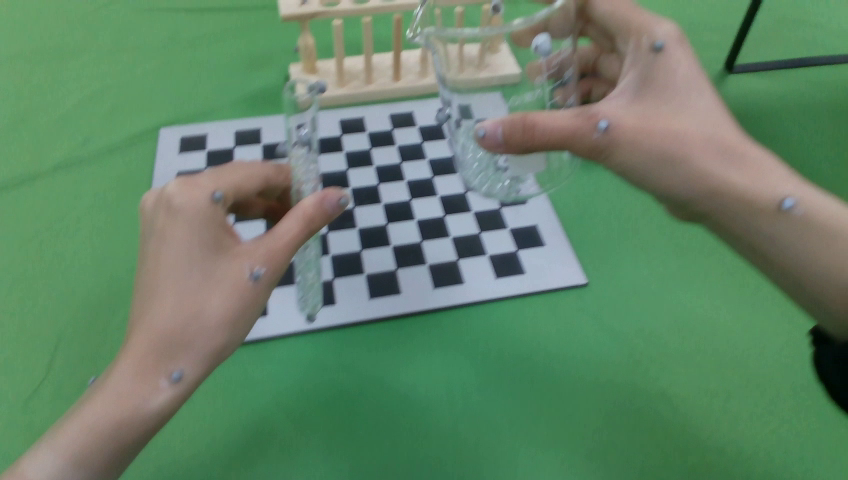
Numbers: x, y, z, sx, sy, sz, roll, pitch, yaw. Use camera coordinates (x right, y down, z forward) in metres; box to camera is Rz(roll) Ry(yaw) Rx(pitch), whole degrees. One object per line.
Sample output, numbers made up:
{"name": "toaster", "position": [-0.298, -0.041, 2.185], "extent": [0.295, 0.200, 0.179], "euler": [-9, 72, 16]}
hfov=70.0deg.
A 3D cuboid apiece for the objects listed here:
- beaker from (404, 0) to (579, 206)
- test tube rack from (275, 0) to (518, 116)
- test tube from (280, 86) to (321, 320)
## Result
{"name": "beaker", "position": [0.040, -0.073, 0.311], "extent": [0.084, 0.101, 0.073], "euler": [-21, 41, -5]}
{"name": "test tube rack", "position": [-0.023, -0.198, 0.629], "extent": [0.243, 0.086, 0.066], "euler": [-10, 49, -10]}
{"name": "test tube", "position": [-0.064, -0.011, 0.324], "extent": [0.017, 0.151, 0.017], "euler": [4, 41, -3]}
